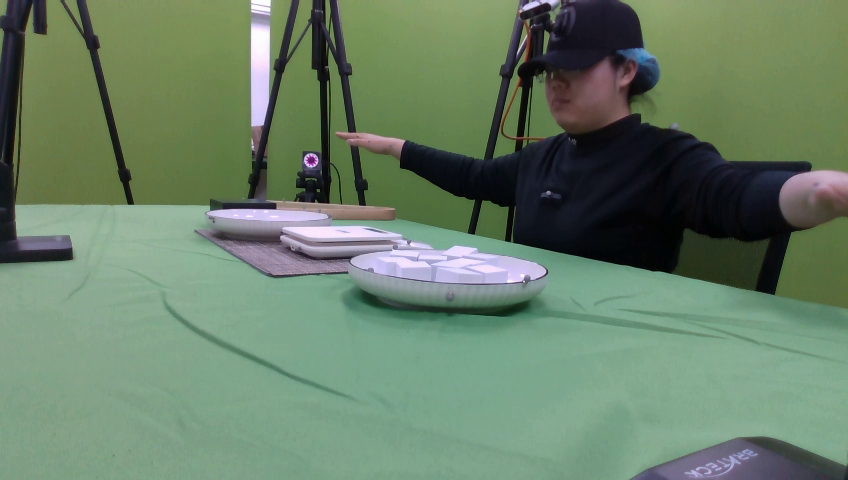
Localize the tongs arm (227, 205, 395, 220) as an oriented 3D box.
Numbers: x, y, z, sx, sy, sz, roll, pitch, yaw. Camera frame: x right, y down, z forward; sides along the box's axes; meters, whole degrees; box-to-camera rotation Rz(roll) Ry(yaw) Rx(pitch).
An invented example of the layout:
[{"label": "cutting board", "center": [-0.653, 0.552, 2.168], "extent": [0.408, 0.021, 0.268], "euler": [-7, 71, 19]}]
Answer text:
[{"label": "tongs arm", "center": [-0.247, -0.062, 1.381], "extent": [0.389, 0.028, 0.028], "euler": [0, 5, -21]}]

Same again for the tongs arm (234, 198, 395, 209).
[{"label": "tongs arm", "center": [-0.263, -0.076, 1.460], "extent": [0.386, 0.026, 0.050], "euler": [3, 7, -8]}]

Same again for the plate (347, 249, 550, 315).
[{"label": "plate", "center": [0.025, 0.042, 0.627], "extent": [0.209, 0.038, 0.209], "euler": [2, 7, 0]}]

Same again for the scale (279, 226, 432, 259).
[{"label": "scale", "center": [-0.100, 0.001, 0.899], "extent": [0.202, 0.031, 0.148], "euler": [-1, 9, -31]}]

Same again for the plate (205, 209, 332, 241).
[{"label": "plate", "center": [-0.262, -0.026, 1.030], "extent": [0.208, 0.039, 0.207], "euler": [3, 7, 0]}]
